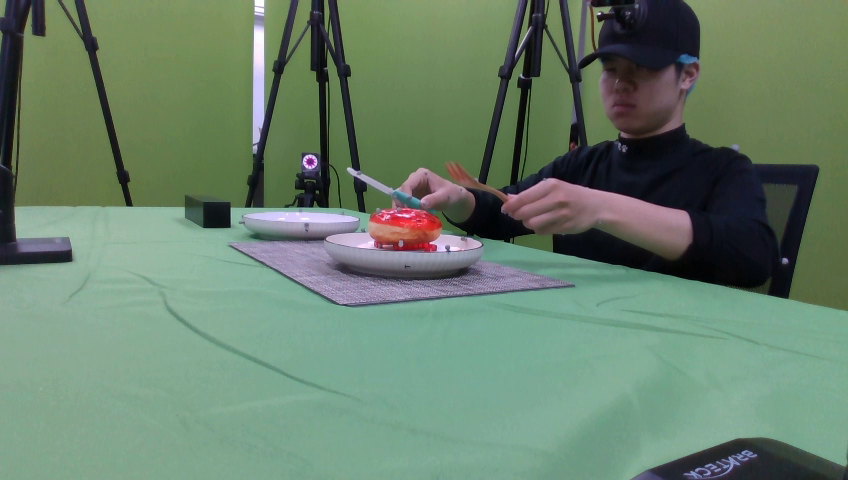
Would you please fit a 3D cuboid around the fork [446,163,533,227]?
[{"bbox_3d":[0.093,-0.055,0.806,0.208,0.018,0.028,24,7,-46],"label":"fork"}]

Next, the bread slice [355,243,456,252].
[{"bbox_3d":[-0.027,0.020,0.794,0.131,0.019,0.105,6,7,17],"label":"bread slice"}]

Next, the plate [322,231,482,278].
[{"bbox_3d":[-0.028,0.018,0.789,0.209,0.038,0.209,3,7,0],"label":"plate"}]

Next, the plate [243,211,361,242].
[{"bbox_3d":[-0.219,-0.025,1.092,0.208,0.039,0.207,3,7,0],"label":"plate"}]

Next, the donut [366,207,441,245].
[{"bbox_3d":[-0.027,-0.017,0.785,0.099,0.048,0.099,3,7,0],"label":"donut"}]

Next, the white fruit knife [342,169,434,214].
[{"bbox_3d":[-0.050,-0.071,0.945,0.027,0.016,0.208,-3,-18,41],"label":"white fruit knife"}]
